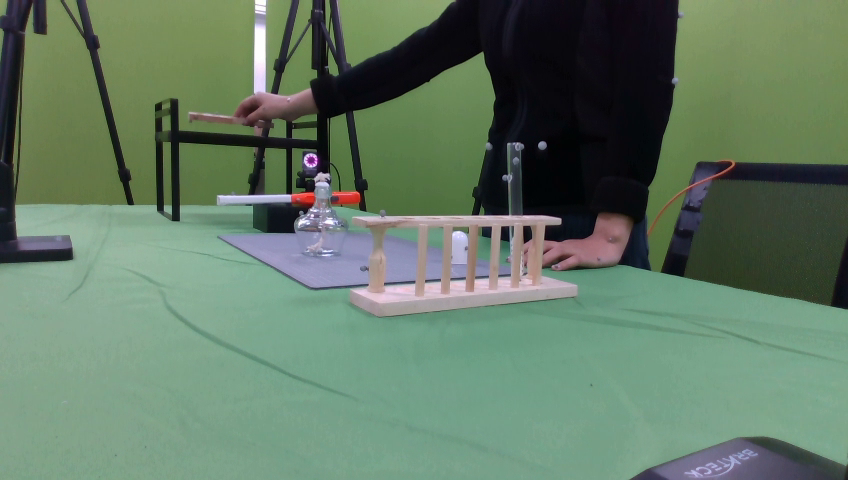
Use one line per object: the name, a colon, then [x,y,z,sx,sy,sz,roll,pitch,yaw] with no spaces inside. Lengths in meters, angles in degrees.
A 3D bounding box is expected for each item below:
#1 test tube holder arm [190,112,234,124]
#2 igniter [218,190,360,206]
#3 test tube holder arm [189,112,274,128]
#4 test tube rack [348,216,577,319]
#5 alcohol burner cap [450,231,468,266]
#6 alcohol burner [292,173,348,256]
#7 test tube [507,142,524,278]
test tube holder arm: [-0.449,-0.258,1.282,0.088,0.015,0.010,2,26,-31]
igniter: [-0.247,-0.080,1.150,0.278,0.025,0.057,-5,7,-29]
test tube holder arm: [-0.413,-0.260,1.310,0.179,0.015,0.013,1,26,-32]
test tube rack: [0.048,0.021,0.619,0.244,0.085,0.066,-2,9,-31]
alcohol burner cap: [0.046,0.012,0.839,0.034,0.048,0.034,3,5,0]
alcohol burner: [-0.147,-0.036,0.859,0.078,0.119,0.078,4,9,0]
test tube: [0.101,-0.032,0.666,0.017,0.150,0.017,-2,6,1]
